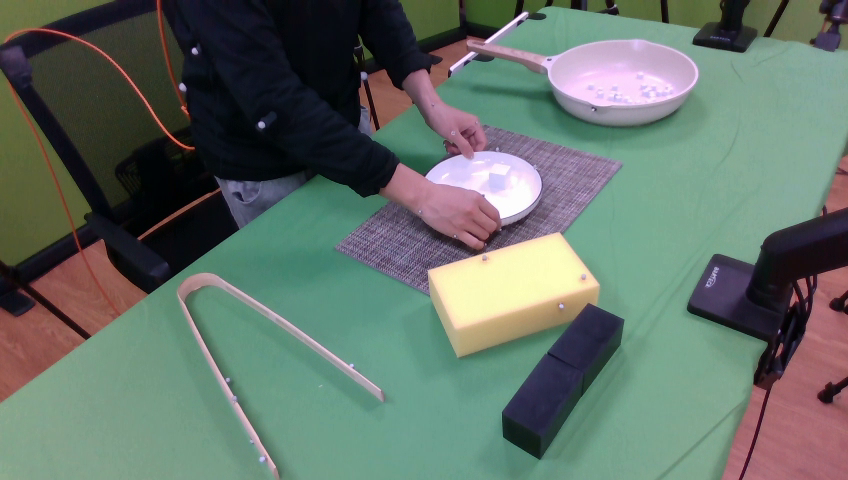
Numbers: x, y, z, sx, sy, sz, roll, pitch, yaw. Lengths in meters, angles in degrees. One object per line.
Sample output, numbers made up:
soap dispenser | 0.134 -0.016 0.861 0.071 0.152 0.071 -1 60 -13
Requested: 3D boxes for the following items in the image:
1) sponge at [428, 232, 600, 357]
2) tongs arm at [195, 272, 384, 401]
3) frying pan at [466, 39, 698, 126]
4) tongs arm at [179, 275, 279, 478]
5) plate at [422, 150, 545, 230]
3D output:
sponge | 0.120 0.071 0.834 0.207 0.061 0.117 -15 43 -12
tongs arm | -0.199 0.125 0.846 0.384 0.028 0.028 25 53 32
frying pan | 0.312 -0.359 1.277 0.485 0.103 0.307 23 47 19
tongs arm | -0.260 0.161 0.807 0.051 0.026 0.381 -29 44 -24
plate | 0.101 -0.082 1.031 0.207 0.039 0.206 -4 41 4
